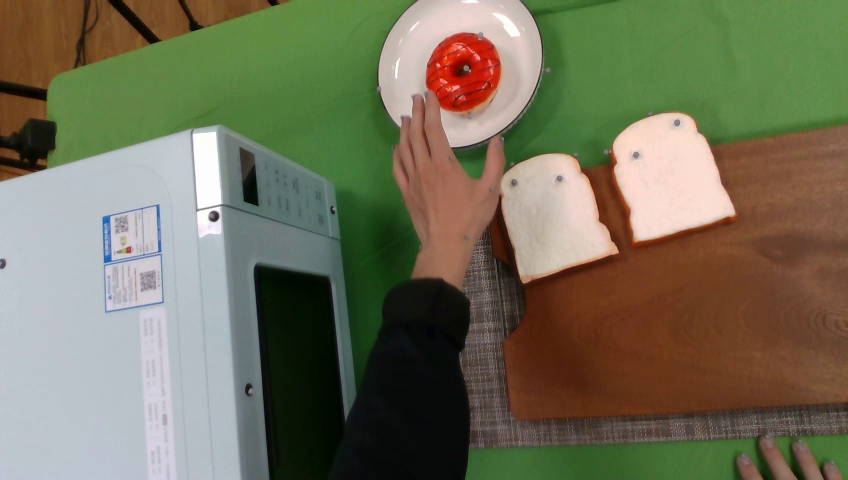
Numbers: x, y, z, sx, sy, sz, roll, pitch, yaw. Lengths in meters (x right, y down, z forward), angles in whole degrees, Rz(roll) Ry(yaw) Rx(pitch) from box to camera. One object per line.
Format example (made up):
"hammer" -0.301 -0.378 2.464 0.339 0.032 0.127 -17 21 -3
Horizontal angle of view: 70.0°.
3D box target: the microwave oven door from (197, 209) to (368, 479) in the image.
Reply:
"microwave oven door" -0.134 0.159 0.626 0.039 0.245 0.354 -11 80 17

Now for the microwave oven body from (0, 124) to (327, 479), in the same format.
"microwave oven body" -0.276 0.145 0.678 0.325 0.261 0.440 -11 81 16

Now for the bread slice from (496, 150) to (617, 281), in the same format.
"bread slice" 0.135 -0.031 0.667 0.107 0.018 0.133 -23 76 13

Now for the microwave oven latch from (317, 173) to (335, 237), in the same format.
"microwave oven latch" -0.131 -0.042 0.755 0.030 0.029 0.079 -9 81 16

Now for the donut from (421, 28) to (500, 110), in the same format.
"donut" 0.042 -0.204 0.726 0.098 0.048 0.099 -2 83 21

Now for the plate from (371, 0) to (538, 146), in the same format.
"plate" 0.037 -0.213 0.741 0.207 0.039 0.207 -2 83 17

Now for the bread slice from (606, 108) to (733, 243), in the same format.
"bread slice" 0.249 -0.072 0.637 0.105 0.019 0.131 -18 79 13
